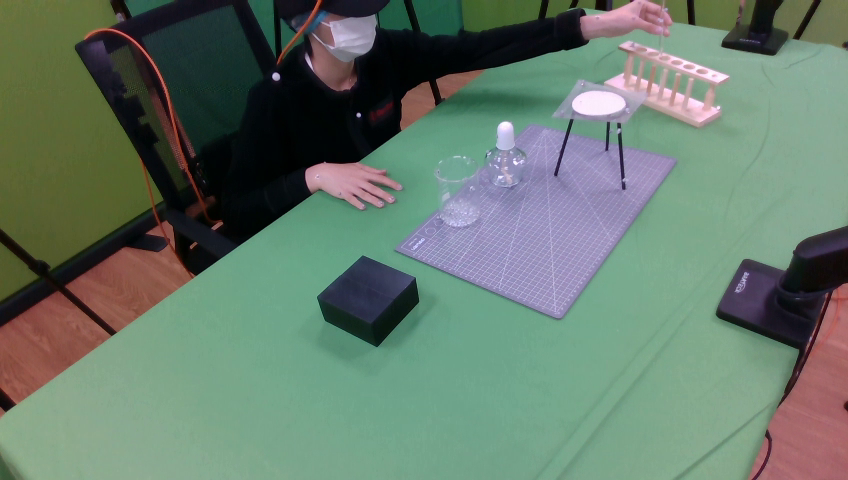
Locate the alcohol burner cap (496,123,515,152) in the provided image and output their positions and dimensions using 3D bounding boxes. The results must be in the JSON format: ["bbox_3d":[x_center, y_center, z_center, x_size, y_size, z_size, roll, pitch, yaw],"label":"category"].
[{"bbox_3d":[0.139,-0.179,1.037,0.034,0.048,0.033,-4,44,4],"label":"alcohol burner cap"}]

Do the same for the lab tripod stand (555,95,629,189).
[{"bbox_3d":[0.300,-0.174,1.045,0.148,0.132,0.147,-5,38,5],"label":"lab tripod stand"}]

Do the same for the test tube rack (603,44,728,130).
[{"bbox_3d":[0.480,-0.315,1.227,0.067,0.085,0.240,-29,44,-21],"label":"test tube rack"}]

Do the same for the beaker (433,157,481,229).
[{"bbox_3d":[0.058,-0.077,0.994,0.073,0.101,0.084,19,46,29],"label":"beaker"}]

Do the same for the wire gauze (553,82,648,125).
[{"bbox_3d":[0.293,-0.225,1.002,0.120,0.011,0.125,17,45,27],"label":"wire gauze"}]

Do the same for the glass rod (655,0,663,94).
[{"bbox_3d":[0.468,-0.383,1.204,0.008,0.201,0.008,-9,39,8],"label":"glass rod"}]

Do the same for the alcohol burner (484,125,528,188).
[{"bbox_3d":[0.144,-0.152,1.059,0.078,0.119,0.077,-3,41,3],"label":"alcohol burner"}]
